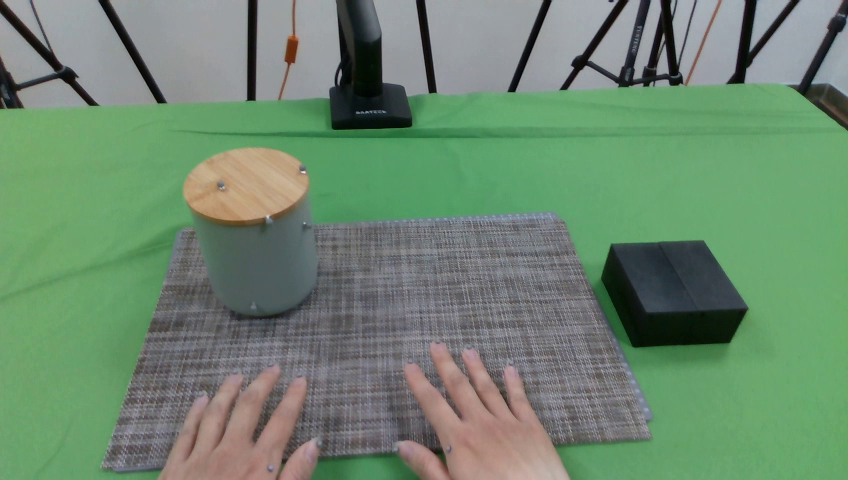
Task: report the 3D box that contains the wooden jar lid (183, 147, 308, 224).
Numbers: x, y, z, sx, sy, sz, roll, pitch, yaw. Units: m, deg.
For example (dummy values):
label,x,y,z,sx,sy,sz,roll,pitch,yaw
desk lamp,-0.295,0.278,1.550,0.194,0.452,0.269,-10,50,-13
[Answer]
label,x,y,z,sx,sy,sz,roll,pitch,yaw
wooden jar lid,-0.160,-0.047,0.549,0.108,0.021,0.107,3,43,-3

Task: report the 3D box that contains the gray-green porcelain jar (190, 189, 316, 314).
label,x,y,z,sx,sy,sz,roll,pitch,yaw
gray-green porcelain jar,-0.161,0.001,0.590,0.106,0.127,0.105,2,40,-1
